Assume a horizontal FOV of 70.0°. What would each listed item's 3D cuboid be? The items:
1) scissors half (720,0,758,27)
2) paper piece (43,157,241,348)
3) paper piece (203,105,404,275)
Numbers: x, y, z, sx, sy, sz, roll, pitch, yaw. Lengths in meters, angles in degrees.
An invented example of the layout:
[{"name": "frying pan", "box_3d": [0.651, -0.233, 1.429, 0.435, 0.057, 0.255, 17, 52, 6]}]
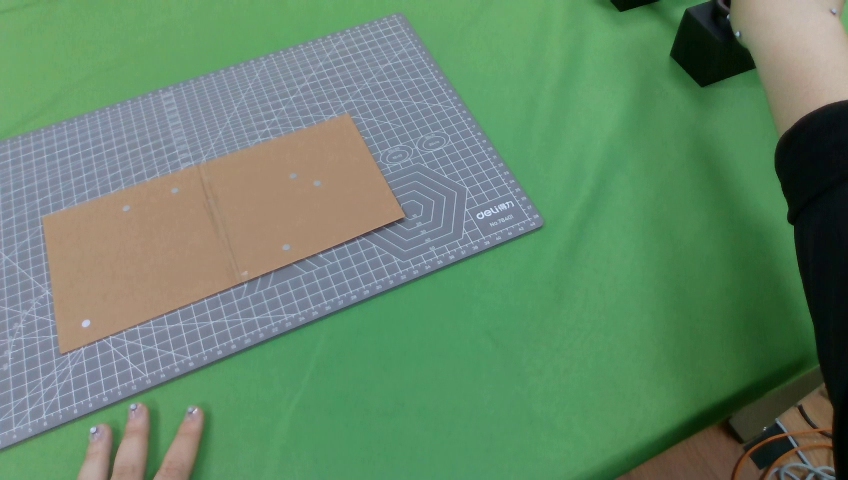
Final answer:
[{"name": "scissors half", "box_3d": [0.254, -0.254, 0.533, 0.013, 0.040, 0.173, -9, 58, -1]}, {"name": "paper piece", "box_3d": [-0.225, 0.002, 0.477, 0.138, 0.009, 0.134, -22, 55, -10]}, {"name": "paper piece", "box_3d": [-0.103, -0.048, 0.501, 0.135, 0.004, 0.134, -22, 58, -10]}]
